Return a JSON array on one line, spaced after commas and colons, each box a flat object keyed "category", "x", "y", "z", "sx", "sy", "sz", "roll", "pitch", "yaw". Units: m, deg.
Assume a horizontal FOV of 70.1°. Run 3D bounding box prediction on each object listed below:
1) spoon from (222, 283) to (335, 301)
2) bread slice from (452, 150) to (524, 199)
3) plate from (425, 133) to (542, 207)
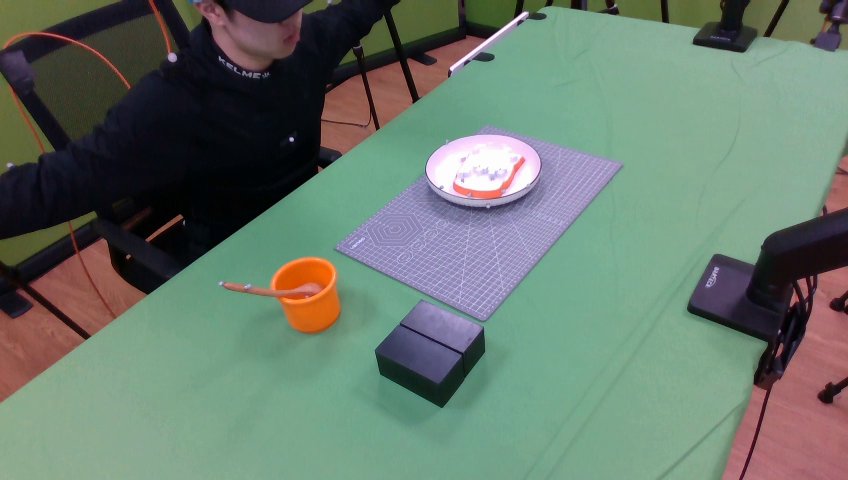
[{"category": "spoon", "x": -0.188, "y": 0.070, "z": 0.810, "sx": 0.041, "sy": 0.021, "sz": 0.195, "roll": 29, "pitch": 12, "yaw": 33}, {"category": "bread slice", "x": 0.112, "y": -0.118, "z": 1.079, "sx": 0.104, "sy": 0.019, "sz": 0.131, "roll": 11, "pitch": 43, "yaw": 21}, {"category": "plate", "x": 0.106, "y": -0.121, "z": 1.079, "sx": 0.209, "sy": 0.038, "sz": 0.208, "roll": -4, "pitch": 41, "yaw": 4}]
